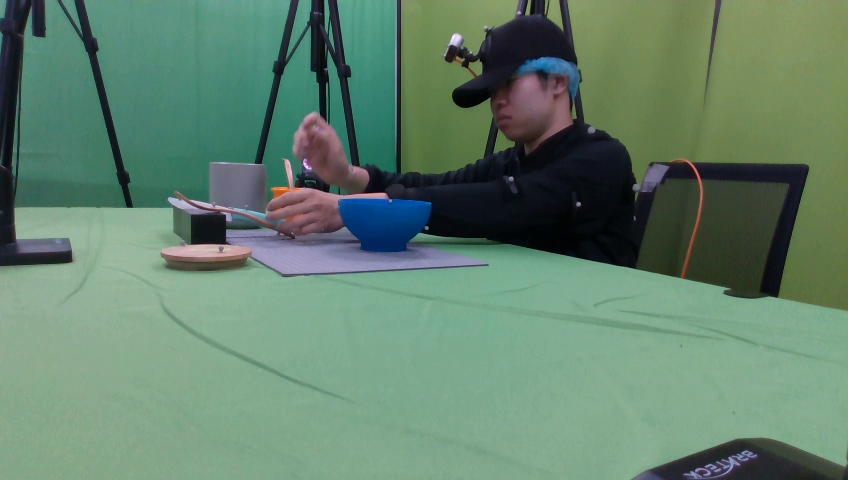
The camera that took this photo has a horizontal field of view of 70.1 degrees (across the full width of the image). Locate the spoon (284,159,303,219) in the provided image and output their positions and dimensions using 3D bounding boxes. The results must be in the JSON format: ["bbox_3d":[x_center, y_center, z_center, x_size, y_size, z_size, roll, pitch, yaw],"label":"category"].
[{"bbox_3d":[-0.302,-0.118,1.370,0.042,0.193,0.021,4,-39,-24],"label":"spoon"}]

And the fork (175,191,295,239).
[{"bbox_3d":[-0.306,-0.039,0.993,0.208,0.018,0.028,19,-7,-34],"label":"fork"}]

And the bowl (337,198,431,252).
[{"bbox_3d":[-0.066,-0.024,0.967,0.151,0.077,0.151,3,7,0],"label":"bowl"}]

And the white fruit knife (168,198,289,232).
[{"bbox_3d":[-0.329,-0.044,1.036,0.208,0.027,0.016,14,0,-32],"label":"white fruit knife"}]

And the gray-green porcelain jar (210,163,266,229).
[{"bbox_3d":[-0.367,-0.088,1.194,0.106,0.126,0.106,3,8,0],"label":"gray-green porcelain jar"}]

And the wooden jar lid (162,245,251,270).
[{"bbox_3d":[-0.278,0.022,0.777,0.108,0.020,0.108,2,6,0],"label":"wooden jar lid"}]
